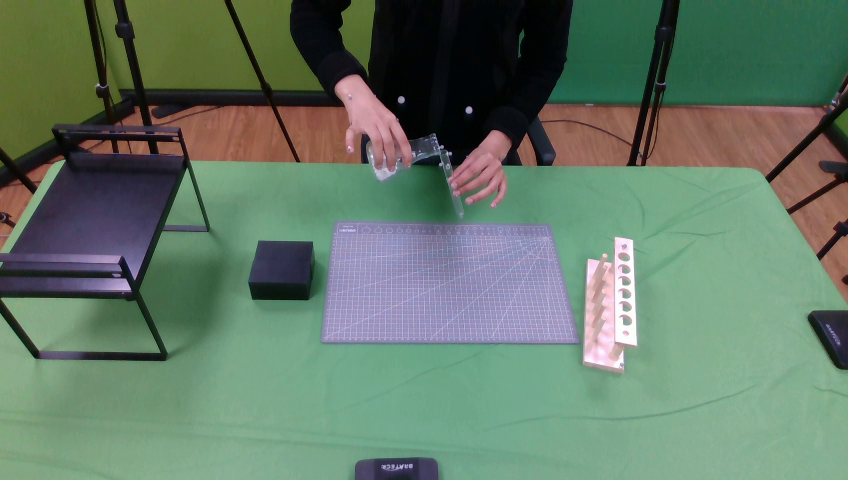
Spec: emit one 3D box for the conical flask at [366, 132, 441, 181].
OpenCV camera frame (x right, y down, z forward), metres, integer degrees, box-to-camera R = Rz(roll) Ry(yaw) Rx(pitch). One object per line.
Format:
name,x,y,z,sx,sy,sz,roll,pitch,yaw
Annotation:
conical flask,-0.034,-0.152,1.039,0.122,0.076,0.075,-15,47,5

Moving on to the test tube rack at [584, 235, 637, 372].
test tube rack,0.329,0.103,1.073,0.067,0.085,0.241,11,47,7

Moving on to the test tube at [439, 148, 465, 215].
test tube,0.051,-0.103,1.095,0.017,0.151,0.017,-11,43,10
